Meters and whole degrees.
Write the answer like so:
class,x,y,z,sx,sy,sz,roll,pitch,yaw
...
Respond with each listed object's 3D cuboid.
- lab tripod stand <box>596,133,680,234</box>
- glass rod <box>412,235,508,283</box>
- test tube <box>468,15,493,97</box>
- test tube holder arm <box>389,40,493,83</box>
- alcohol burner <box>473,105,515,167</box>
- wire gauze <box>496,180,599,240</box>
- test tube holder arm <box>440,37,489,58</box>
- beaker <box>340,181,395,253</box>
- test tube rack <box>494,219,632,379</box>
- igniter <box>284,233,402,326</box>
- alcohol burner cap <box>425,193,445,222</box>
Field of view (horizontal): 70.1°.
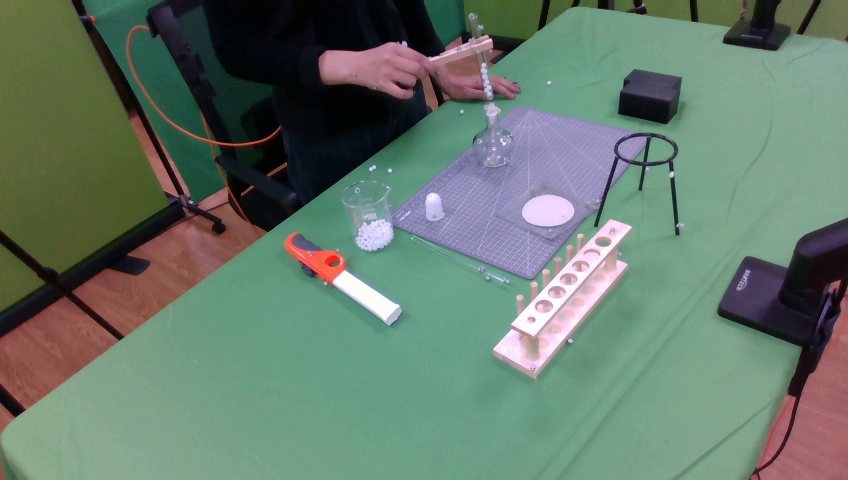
class,x,y,z,sx,sy,sz,roll,pitch,yaw
lab tripod stand,0.338,-0.091,0.940,0.148,0.132,0.147,-7,39,6
glass rod,0.051,0.028,0.952,0.198,0.008,0.008,25,52,37
test tube,0.096,-0.304,1.012,0.017,0.151,0.017,-10,44,11
test tube holder arm,0.028,-0.293,0.990,0.178,0.015,0.013,-20,38,-3
alcohol burner,0.128,-0.196,1.116,0.078,0.119,0.077,-4,40,4
wire gauze,0.206,-0.050,1.012,0.125,0.011,0.120,-34,45,-26
test tube holder arm,0.067,-0.313,0.998,0.088,0.015,0.010,-25,39,-9
beaker,-0.086,-0.037,0.985,0.084,0.101,0.073,-18,41,-11
test tube rack,0.191,0.068,0.818,0.066,0.085,0.243,25,51,35
igniter,-0.136,0.054,0.942,0.274,0.025,0.057,30,63,37
alcohol burner cap,0.017,-0.058,1.029,0.034,0.048,0.033,-6,40,5
